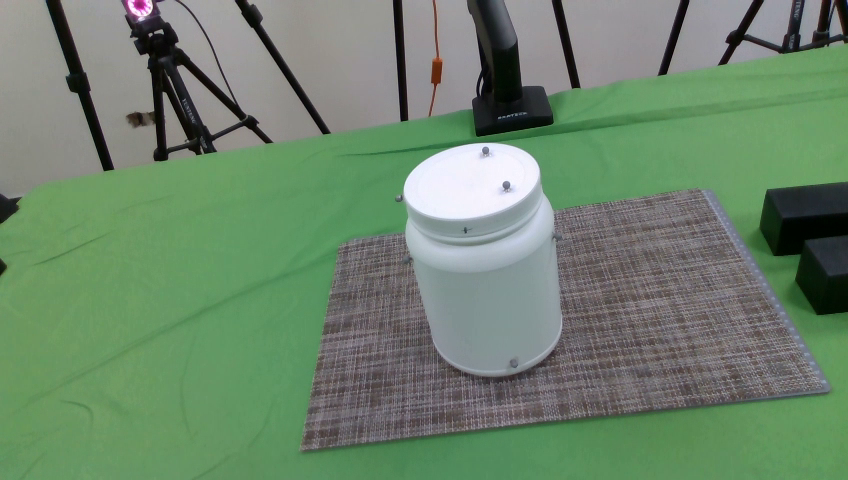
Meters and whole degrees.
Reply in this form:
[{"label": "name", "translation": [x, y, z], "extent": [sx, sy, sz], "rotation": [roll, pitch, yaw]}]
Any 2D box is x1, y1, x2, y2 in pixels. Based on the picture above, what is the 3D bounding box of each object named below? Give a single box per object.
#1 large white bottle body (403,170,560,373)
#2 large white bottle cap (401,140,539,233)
[{"label": "large white bottle body", "translation": [0.054, 0.017, 0.555], "extent": [0.130, 0.186, 0.129], "rotation": [-9, 38, 7]}, {"label": "large white bottle cap", "translation": [0.037, -0.047, 0.502], "extent": [0.115, 0.018, 0.113], "rotation": [-8, 38, 7]}]
